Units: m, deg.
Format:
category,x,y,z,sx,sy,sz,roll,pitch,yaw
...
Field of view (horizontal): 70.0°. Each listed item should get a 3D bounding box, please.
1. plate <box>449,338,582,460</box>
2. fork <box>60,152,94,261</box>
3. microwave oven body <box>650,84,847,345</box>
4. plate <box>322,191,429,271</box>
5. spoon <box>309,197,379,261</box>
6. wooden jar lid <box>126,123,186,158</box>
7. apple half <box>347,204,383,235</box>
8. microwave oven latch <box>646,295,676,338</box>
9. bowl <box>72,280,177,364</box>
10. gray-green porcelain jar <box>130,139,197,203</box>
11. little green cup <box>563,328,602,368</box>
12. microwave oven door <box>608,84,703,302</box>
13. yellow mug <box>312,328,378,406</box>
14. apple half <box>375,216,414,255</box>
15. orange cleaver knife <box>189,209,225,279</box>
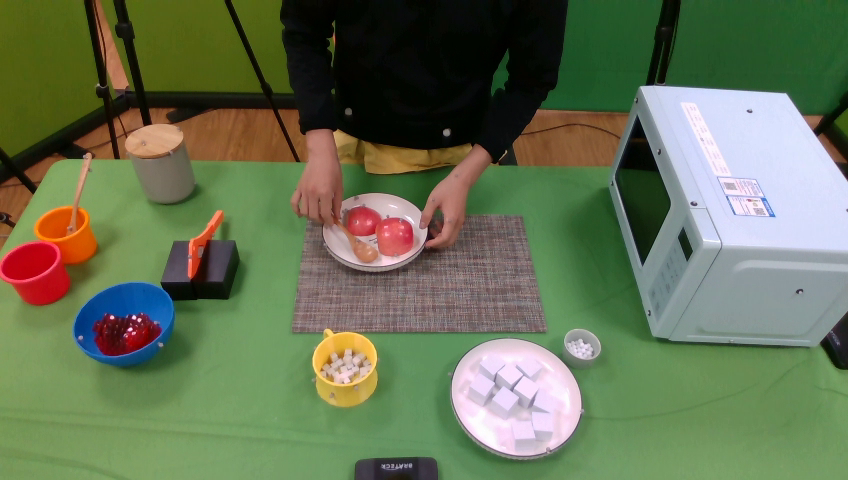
category,x,y,z,sx,sy,sz,roll,pitch,yaw
plate,0.141,0.251,0.956,0.208,0.039,0.206,2,46,-2
fork,-0.638,-0.063,1.119,0.028,0.018,0.207,12,90,8
microwave oven body,0.569,-0.054,1.116,0.326,0.261,0.439,2,46,-1
plate,-0.094,-0.015,1.186,0.209,0.038,0.208,3,47,-2
spoon,-0.159,-0.025,1.172,0.041,0.022,0.193,-36,71,-27
wooden jar lid,-0.519,-0.190,1.179,0.108,0.021,0.107,2,44,-2
apple half,-0.118,-0.049,1.206,0.081,0.033,0.081,3,49,-3
microwave oven latch,0.413,0.133,1.061,0.030,0.029,0.078,4,46,1
bowl,-0.473,0.147,0.982,0.151,0.077,0.150,2,46,-2
gray-green porcelain jar,-0.522,-0.148,1.225,0.106,0.127,0.105,2,47,-2
little green cup,0.266,0.185,1.025,0.061,0.039,0.061,2,45,-2
microwave oven door,0.424,-0.096,1.138,0.039,0.245,0.353,2,47,-1
yellow mug,-0.132,0.193,0.971,0.100,0.064,0.130,-22,51,-22
apple half,-0.056,-0.017,1.169,0.075,0.053,0.080,0,46,-7
orange cleaver knife,-0.401,0.002,1.122,0.012,0.077,0.210,4,23,-4
